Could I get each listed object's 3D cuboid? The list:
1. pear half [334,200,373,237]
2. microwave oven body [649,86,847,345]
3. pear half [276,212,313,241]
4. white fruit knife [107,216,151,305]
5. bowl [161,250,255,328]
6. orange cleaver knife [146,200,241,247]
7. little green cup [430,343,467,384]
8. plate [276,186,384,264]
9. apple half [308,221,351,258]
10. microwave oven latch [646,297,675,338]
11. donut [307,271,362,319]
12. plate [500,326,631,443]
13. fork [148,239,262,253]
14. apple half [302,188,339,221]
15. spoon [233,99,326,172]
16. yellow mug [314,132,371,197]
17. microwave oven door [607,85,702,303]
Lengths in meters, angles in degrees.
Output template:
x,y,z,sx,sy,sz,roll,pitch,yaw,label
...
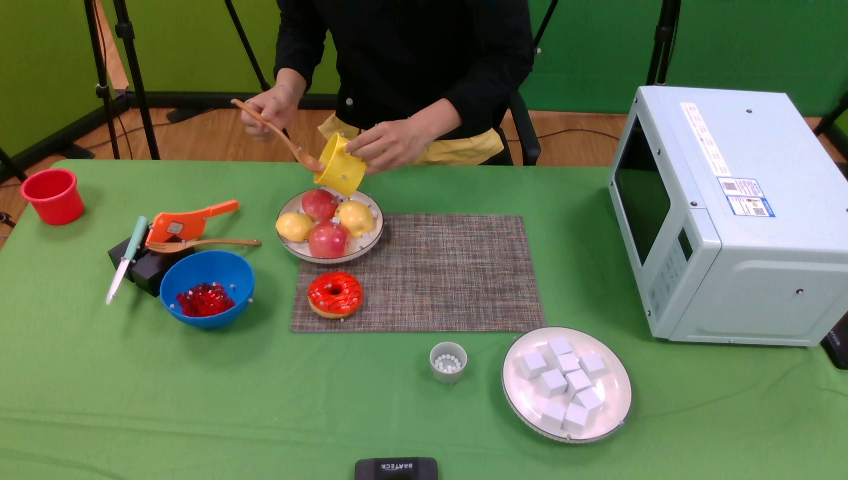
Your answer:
x,y,z,sx,sy,sz,roll,pitch,yaw,label
-0.147,-0.059,1.209,0.076,0.056,0.109,-17,43,-25,pear half
0.568,-0.053,1.118,0.326,0.261,0.439,2,45,-1,microwave oven body
-0.245,-0.035,1.179,0.070,0.031,0.088,40,42,1,pear half
-0.518,0.032,1.066,0.027,0.016,0.206,-18,45,19,white fruit knife
-0.362,0.097,1.040,0.151,0.077,0.150,2,45,-2,bowl
-0.435,-0.033,1.157,0.012,0.077,0.211,31,26,19,orange cleaver knife
0.039,0.203,0.993,0.061,0.039,0.061,2,46,-2,little green cup
-0.184,-0.027,1.195,0.209,0.038,0.208,2,46,-2,plate
-0.180,-0.005,1.150,0.074,0.053,0.080,14,43,9,apple half
0.412,0.134,1.061,0.030,0.029,0.078,4,45,1,microwave oven latch
-0.157,0.097,1.073,0.099,0.048,0.098,4,45,-4,donut
0.224,0.234,0.978,0.208,0.039,0.206,2,46,-2,plate
-0.398,0.008,1.117,0.208,0.019,0.028,-5,34,-37,fork
-0.204,-0.076,1.216,0.081,0.033,0.081,17,46,-19,apple half
-0.254,-0.184,1.071,0.194,0.021,0.041,42,32,-14,spoon
-0.140,-0.140,1.075,0.064,0.131,0.099,23,62,-23,yellow mug
0.423,-0.094,1.140,0.039,0.245,0.353,2,46,-1,microwave oven door
